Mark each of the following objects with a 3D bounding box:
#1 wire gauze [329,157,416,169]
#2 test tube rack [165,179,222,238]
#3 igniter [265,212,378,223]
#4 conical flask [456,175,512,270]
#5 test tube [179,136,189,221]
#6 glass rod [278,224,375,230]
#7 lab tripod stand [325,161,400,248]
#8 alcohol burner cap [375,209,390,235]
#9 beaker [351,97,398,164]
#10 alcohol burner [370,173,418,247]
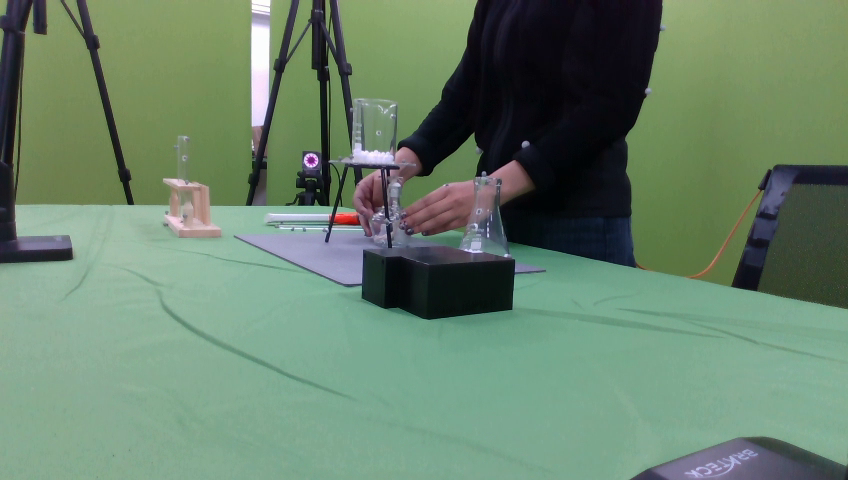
[{"bbox_3d":[-0.079,-0.125,0.972,0.121,0.011,0.125,6,6,5],"label":"wire gauze"},{"bbox_3d":[-0.423,-0.062,1.098,0.067,0.085,0.241,-2,9,-28],"label":"test tube rack"},{"bbox_3d":[-0.195,-0.048,1.285,0.278,0.025,0.057,-2,-2,-30],"label":"igniter"},{"bbox_3d":[0.083,-0.025,0.801,0.075,0.122,0.075,2,7,0],"label":"conical flask"},{"bbox_3d":[-0.425,-0.108,1.070,0.017,0.150,0.017,4,9,0],"label":"test tube"},{"bbox_3d":[-0.186,-0.024,1.178,0.201,0.008,0.008,1,6,-31],"label":"glass rod"},{"bbox_3d":[-0.083,-0.059,0.977,0.148,0.131,0.148,4,8,0],"label":"lab tripod stand"},{"bbox_3d":[-0.076,-0.035,1.144,0.034,0.048,0.034,2,7,0],"label":"alcohol burner cap"},{"bbox_3d":[-0.078,-0.172,0.962,0.074,0.100,0.084,6,8,19],"label":"beaker"},{"bbox_3d":[-0.048,-0.048,0.977,0.078,0.119,0.078,4,9,0],"label":"alcohol burner"}]
